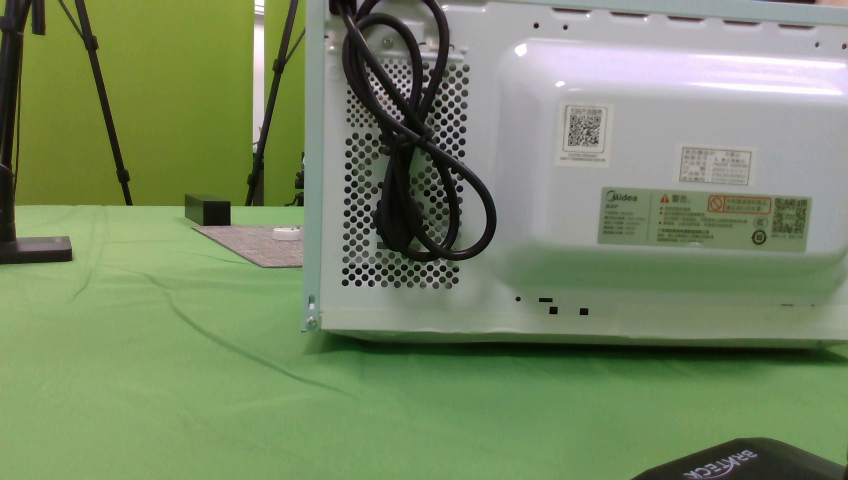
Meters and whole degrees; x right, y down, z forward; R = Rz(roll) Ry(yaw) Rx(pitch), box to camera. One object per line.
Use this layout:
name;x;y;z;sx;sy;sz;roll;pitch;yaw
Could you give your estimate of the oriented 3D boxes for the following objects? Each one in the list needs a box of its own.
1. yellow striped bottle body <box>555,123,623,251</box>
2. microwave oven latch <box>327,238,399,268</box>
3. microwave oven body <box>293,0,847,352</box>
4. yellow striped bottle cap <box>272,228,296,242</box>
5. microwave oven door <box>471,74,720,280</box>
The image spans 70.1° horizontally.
yellow striped bottle body;0.159;-0.050;0.584;0.063;0.120;0.063;0;3;0
microwave oven latch;-0.069;0.015;0.694;0.079;0.029;0.030;3;7;-3
microwave oven body;0.122;-0.055;0.551;0.442;0.260;0.325;3;7;-5
yellow striped bottle cap;-0.232;-0.008;1.012;0.044;0.018;0.044;4;9;0
microwave oven door;0.211;-0.092;0.835;0.039;0.243;0.354;-4;10;-42
